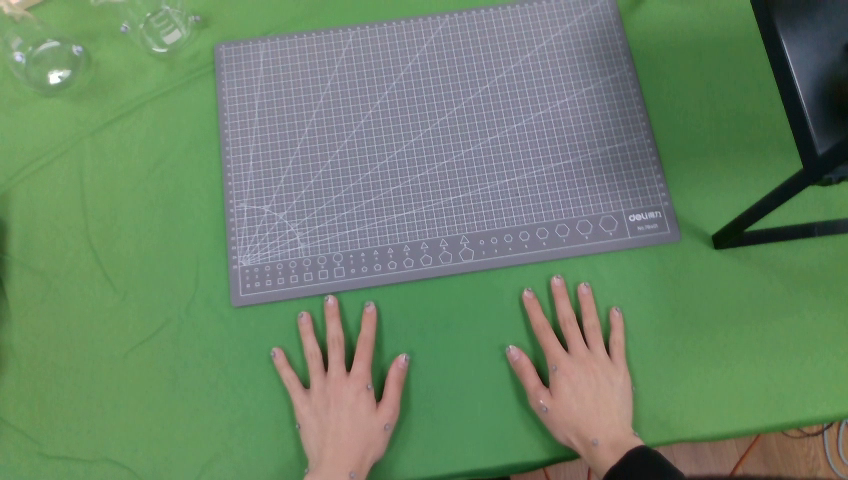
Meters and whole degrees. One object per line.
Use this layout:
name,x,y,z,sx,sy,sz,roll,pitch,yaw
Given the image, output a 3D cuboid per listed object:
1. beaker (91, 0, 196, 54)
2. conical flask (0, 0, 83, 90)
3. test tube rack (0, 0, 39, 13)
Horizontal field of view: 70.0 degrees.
beaker,-0.293,-0.249,0.636,0.073,0.101,0.084,38,78,12
conical flask,-0.414,-0.213,0.615,0.075,0.122,0.075,0,73,1
test tube rack,-0.385,-0.353,0.673,0.242,0.085,0.066,-28,75,-7
